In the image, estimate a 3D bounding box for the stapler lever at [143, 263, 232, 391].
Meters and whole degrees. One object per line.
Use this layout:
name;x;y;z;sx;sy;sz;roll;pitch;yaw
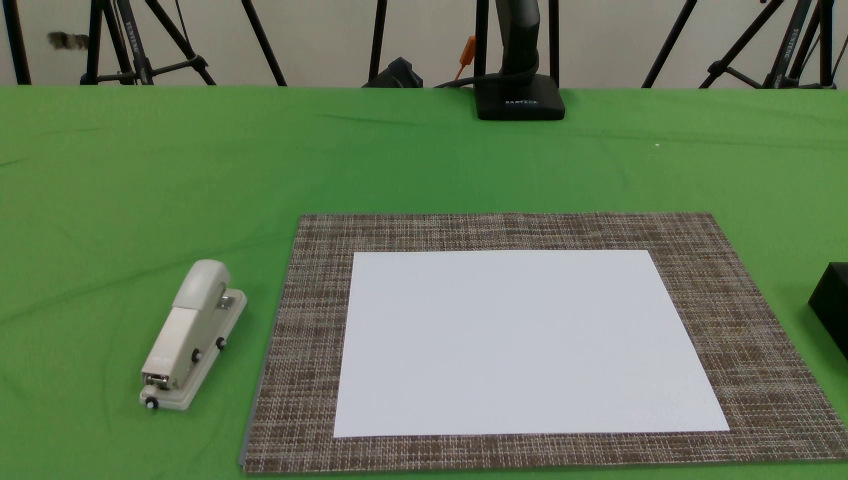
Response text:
stapler lever;-0.191;0.066;0.496;0.027;0.040;0.117;6;40;8

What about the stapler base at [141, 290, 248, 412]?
stapler base;-0.192;0.084;0.513;0.041;0.024;0.129;6;41;8
